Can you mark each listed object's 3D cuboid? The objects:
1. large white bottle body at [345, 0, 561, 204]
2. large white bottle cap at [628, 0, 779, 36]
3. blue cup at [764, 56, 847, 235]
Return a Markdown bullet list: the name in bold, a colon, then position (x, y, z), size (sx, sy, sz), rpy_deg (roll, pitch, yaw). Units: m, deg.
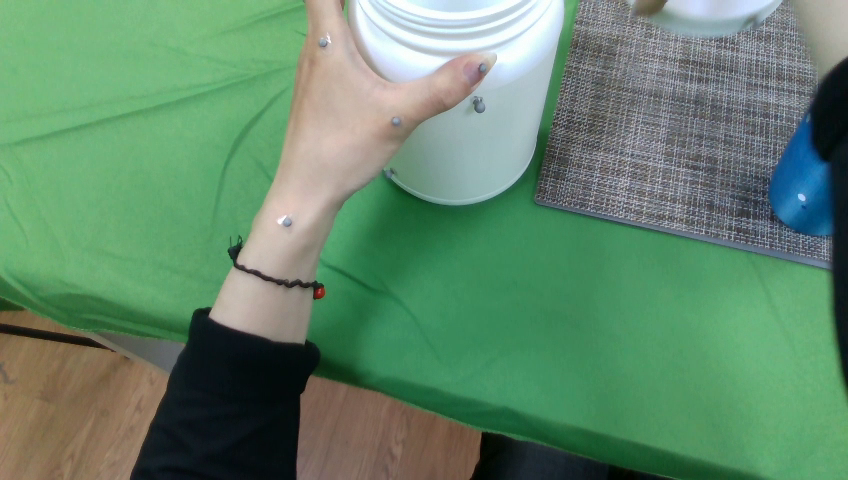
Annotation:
- **large white bottle body**: position (0.019, -0.121, 0.407), size (0.130, 0.186, 0.129), rpy_deg (-1, 65, 2)
- **large white bottle cap**: position (0.194, -0.194, 0.418), size (0.114, 0.018, 0.114), rpy_deg (-3, 71, 8)
- **blue cup**: position (0.281, -0.051, 0.407), size (0.092, 0.101, 0.092), rpy_deg (-1, 64, 3)
